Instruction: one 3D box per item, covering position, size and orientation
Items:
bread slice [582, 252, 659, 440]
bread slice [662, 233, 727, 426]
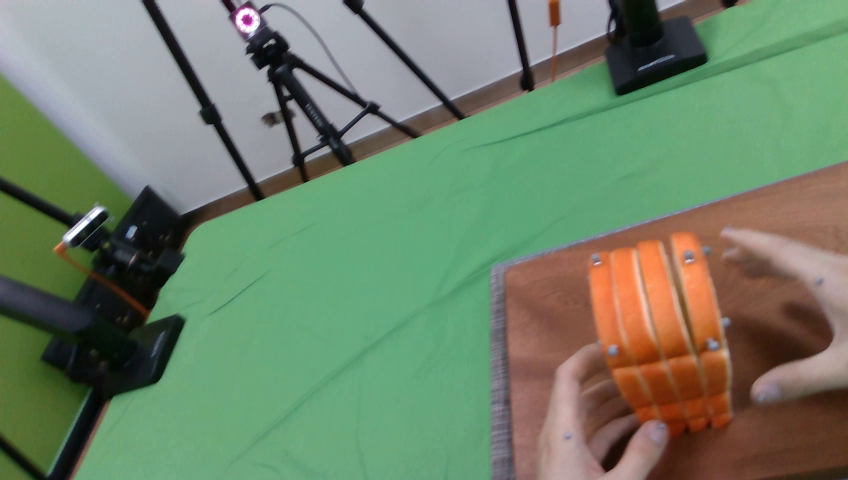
[{"bbox_3d":[0.150,0.072,0.464,0.018,0.136,0.106,-18,39,23],"label":"bread slice"},{"bbox_3d":[0.197,0.060,0.443,0.019,0.133,0.104,-14,44,18],"label":"bread slice"}]
